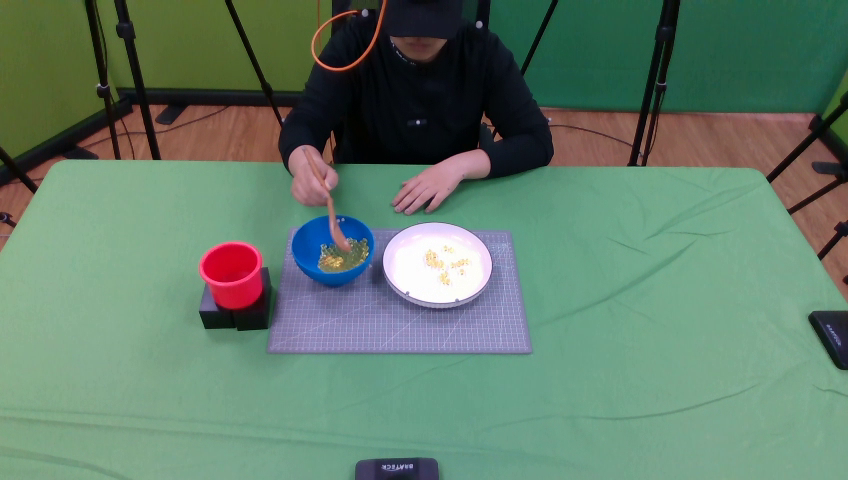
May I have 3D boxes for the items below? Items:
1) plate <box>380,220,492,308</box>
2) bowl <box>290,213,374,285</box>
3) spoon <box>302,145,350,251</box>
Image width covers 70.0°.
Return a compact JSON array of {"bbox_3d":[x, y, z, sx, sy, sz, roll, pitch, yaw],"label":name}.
[{"bbox_3d":[0.022,0.048,1.137,0.208,0.039,0.206,2,46,-2],"label":"plate"},{"bbox_3d":[-0.166,0.030,1.113,0.151,0.077,0.150,2,46,-2],"label":"bowl"},{"bbox_3d":[-0.166,-0.070,1.031,0.021,0.194,0.041,-13,14,17],"label":"spoon"}]
